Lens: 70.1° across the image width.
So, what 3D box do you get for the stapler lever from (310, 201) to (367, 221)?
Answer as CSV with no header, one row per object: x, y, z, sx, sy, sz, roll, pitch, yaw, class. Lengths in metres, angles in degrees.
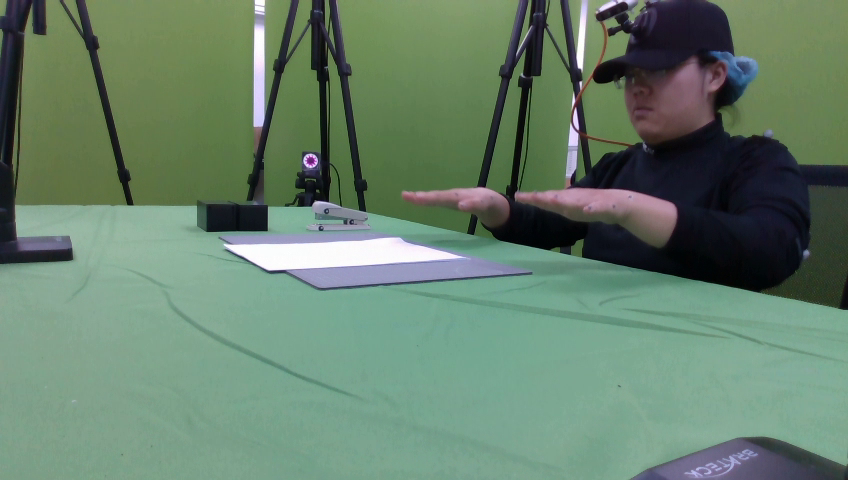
-0.171,-0.057,1.213,0.119,0.040,0.026,-1,10,-34,stapler lever

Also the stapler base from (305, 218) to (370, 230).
-0.173,-0.034,1.215,0.131,0.024,0.041,0,10,-35,stapler base
